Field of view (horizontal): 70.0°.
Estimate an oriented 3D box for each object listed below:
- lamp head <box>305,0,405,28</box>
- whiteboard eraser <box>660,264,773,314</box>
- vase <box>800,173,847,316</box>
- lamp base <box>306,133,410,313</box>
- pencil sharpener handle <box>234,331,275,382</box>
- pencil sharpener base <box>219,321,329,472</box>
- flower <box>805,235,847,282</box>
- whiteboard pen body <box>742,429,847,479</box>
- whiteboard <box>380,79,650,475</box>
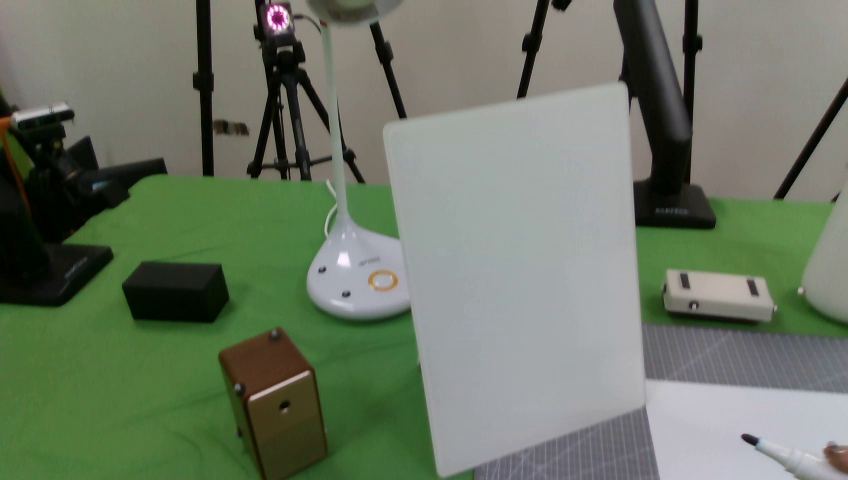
[{"bbox_3d":[-0.075,-0.267,0.539,0.113,0.113,0.121,-18,60,-23],"label":"lamp head"},{"bbox_3d":[0.333,0.058,0.697,0.112,0.042,0.055,4,31,11],"label":"whiteboard eraser"},{"bbox_3d":[0.486,-0.014,0.654,0.098,0.201,0.097,-1,33,1],"label":"vase"},{"bbox_3d":[-0.080,-0.030,0.733,0.161,0.182,0.177,-25,36,-31],"label":"lamp base"},{"bbox_3d":[-0.160,0.105,0.570,0.036,0.068,0.030,-29,40,-22],"label":"pencil sharpener handle"},{"bbox_3d":[-0.133,0.137,0.539,0.061,0.108,0.076,-22,37,-27],"label":"pencil sharpener base"},{"bbox_3d":[0.490,-0.075,0.596,0.044,0.364,0.038,-8,50,-21],"label":"flower"},{"bbox_3d":[0.217,0.119,0.271,0.139,0.017,0.017,22,40,27],"label":"whiteboard pen body"},{"bbox_3d":[0.072,0.021,0.578,0.218,0.307,0.143,-13,15,-15],"label":"whiteboard"}]
